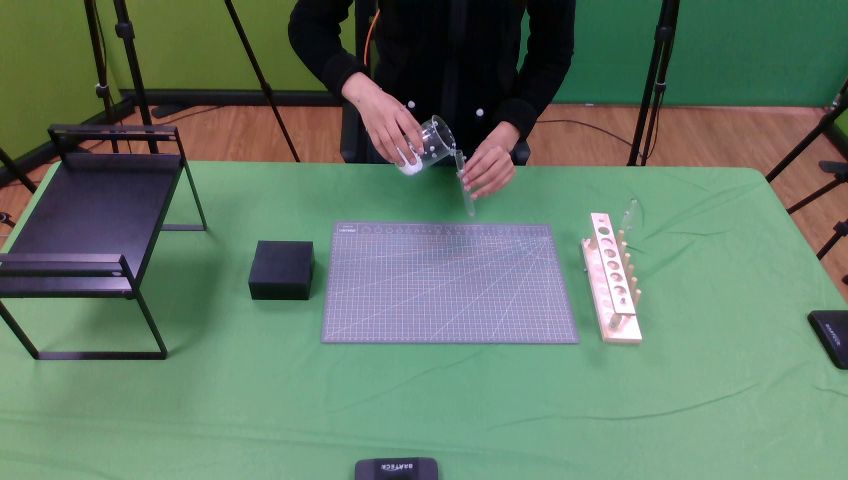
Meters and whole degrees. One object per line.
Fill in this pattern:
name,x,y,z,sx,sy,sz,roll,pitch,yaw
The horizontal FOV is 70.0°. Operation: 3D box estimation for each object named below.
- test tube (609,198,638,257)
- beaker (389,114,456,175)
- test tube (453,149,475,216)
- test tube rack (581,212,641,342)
test tube,0.375,-0.021,1.141,0.017,0.151,0.017,2,45,-2
beaker,-0.003,-0.164,1.070,0.100,0.084,0.073,-27,44,24
test tube,0.076,-0.104,1.127,0.017,0.151,0.017,-9,41,8
test tube rack,0.351,0.063,1.121,0.067,0.085,0.241,3,46,-1
